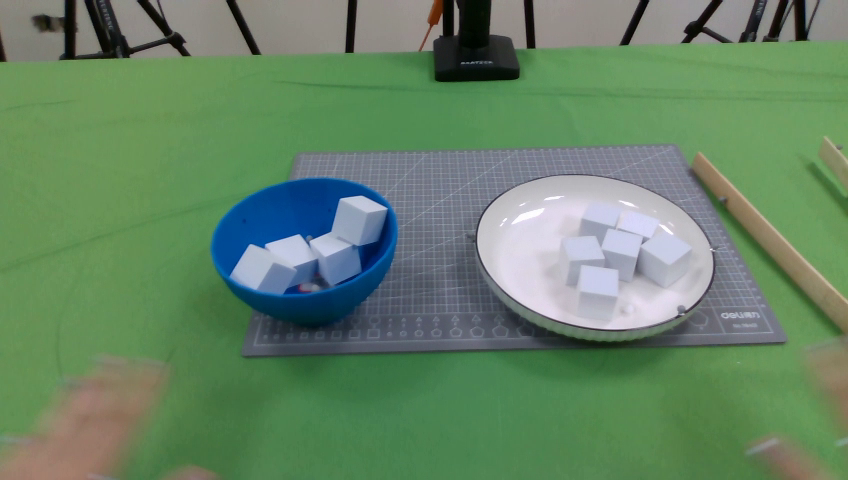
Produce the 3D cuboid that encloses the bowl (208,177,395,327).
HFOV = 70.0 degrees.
[{"bbox_3d":[-0.097,0.021,0.517,0.151,0.077,0.150,0,41,1],"label":"bowl"}]

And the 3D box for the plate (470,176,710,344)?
[{"bbox_3d":[0.145,0.016,0.549,0.208,0.039,0.205,0,41,1],"label":"plate"}]

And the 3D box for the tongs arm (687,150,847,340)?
[{"bbox_3d":[0.346,0.032,0.537,0.028,0.028,0.383,-8,42,-12],"label":"tongs arm"}]

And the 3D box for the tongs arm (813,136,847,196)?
[{"bbox_3d":[0.425,0.023,0.541,0.051,0.027,0.381,-2,43,0],"label":"tongs arm"}]
